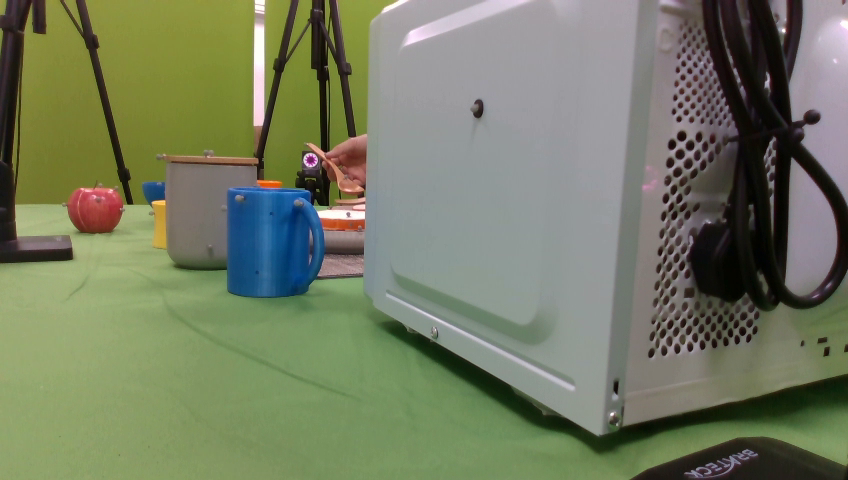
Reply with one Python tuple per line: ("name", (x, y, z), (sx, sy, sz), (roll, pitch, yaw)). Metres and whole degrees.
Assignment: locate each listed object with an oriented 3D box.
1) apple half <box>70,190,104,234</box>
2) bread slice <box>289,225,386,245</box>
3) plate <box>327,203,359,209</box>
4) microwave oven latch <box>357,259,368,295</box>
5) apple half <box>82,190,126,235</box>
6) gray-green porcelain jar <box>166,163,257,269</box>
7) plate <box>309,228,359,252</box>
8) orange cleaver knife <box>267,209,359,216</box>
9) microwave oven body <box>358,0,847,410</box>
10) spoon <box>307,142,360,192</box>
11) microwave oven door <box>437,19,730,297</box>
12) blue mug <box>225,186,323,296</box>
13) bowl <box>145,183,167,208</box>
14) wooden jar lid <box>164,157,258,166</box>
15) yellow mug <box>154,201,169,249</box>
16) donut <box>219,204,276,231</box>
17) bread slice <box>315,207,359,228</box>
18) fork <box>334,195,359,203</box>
("apple half", (-0.552, -0.047, 1.009), (0.053, 0.074, 0.081), (-1, 9, 27))
("bread slice", (-0.125, -0.009, 0.938), (0.131, 0.019, 0.105), (5, 8, 31))
("plate", (-0.102, -0.053, 1.299), (0.209, 0.038, 0.209), (2, 8, 0))
("microwave oven latch", (-0.019, 0.031, 0.529), (0.079, 0.029, 0.030), (-1, 7, -26))
("apple half", (-0.517, -0.046, 0.994), (0.032, 0.081, 0.081), (0, 6, 26))
("gray-green porcelain jar", (-0.263, -0.031, 0.754), (0.106, 0.126, 0.106), (2, 7, 0))
("plate", (-0.130, -0.011, 0.945), (0.208, 0.039, 0.207), (2, 8, 0))
("orange cleaver knife", (-0.259, -0.064, 1.423), (0.212, 0.012, 0.077), (-4, 3, -30))
("microwave oven body", (0.210, -0.051, 0.471), (0.444, 0.260, 0.324), (-1, 7, -28))
("spoon", (-0.164, -0.135, 1.093), (0.042, 0.021, 0.193), (-11, 42, -34))
("microwave oven door", (0.181, -0.076, 0.618), (0.358, 0.243, 0.039), (-2, 8, -28))
("blue mug", (-0.148, 0.000, 0.618), (0.116, 0.106, 0.083), (7, 9, 33))
("bowl", (-0.459, -0.068, 1.175), (0.151, 0.077, 0.151), (2, 8, 0))
("wooden jar lid", (-0.261, -0.093, 0.746), (0.108, 0.020, 0.108), (0, 9, 0))
("yellow mug", (-0.338, -0.022, 0.899), (0.130, 0.064, 0.100), (8, 9, 34))
("donut", (-0.316, -0.039, 1.083), (0.099, 0.048, 0.099), (2, 7, 0))
("bread slice", (-0.127, -0.035, 0.933), (0.134, 0.018, 0.107), (5, 11, 27))
("fork", (-0.026, -0.083, 0.857), (0.208, 0.018, 0.028), (-19, 18, -9))
